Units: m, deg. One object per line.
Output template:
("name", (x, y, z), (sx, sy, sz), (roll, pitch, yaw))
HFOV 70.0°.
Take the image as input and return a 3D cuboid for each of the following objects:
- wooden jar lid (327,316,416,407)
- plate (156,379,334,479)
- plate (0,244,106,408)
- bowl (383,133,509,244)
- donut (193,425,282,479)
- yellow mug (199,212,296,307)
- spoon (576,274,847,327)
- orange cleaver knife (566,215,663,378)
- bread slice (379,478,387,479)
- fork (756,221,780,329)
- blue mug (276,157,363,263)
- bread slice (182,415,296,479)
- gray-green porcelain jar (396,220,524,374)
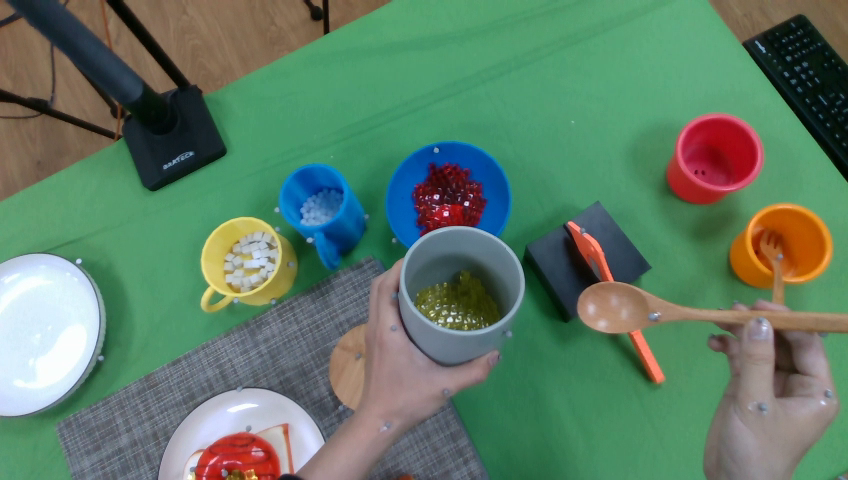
("wooden jar lid", (-0.062, 0.147, 0.732), (0.108, 0.021, 0.108), (-1, 77, 5))
("plate", (-0.204, 0.268, 0.705), (0.209, 0.038, 0.208), (-1, 75, 5))
("plate", (-0.505, 0.109, 0.779), (0.207, 0.039, 0.206), (-1, 76, 5))
("bowl", (0.029, -0.045, 0.746), (0.151, 0.077, 0.150), (-1, 76, 6))
("donut", (-0.208, 0.258, 0.679), (0.099, 0.048, 0.098), (-1, 75, 2))
("yellow mug", (-0.229, 0.032, 0.758), (0.099, 0.064, 0.131), (39, 84, 14))
("spoon", (0.205, 0.049, 0.434), (0.192, 0.022, 0.041), (2, 90, 36))
("orange cleaver knife", (0.217, 0.065, 0.697), (0.012, 0.077, 0.212), (-31, 104, -2))
("bread slice", (-0.031, 0.305, 0.634), (0.018, 0.135, 0.106), (-20, 72, -8))
("fork", (0.375, 0.032, 0.655), (0.028, 0.019, 0.206), (33, 37, 7))
("blue mug", (-0.123, -0.028, 0.742), (0.082, 0.106, 0.116), (-9, 75, 4))
("bread slice", (-0.216, 0.274, 0.709), (0.131, 0.019, 0.104), (-14, 74, -2))
("gray-green porcelain jar", (0.027, 0.059, 0.556), (0.106, 0.127, 0.105), (2, 59, -3))
